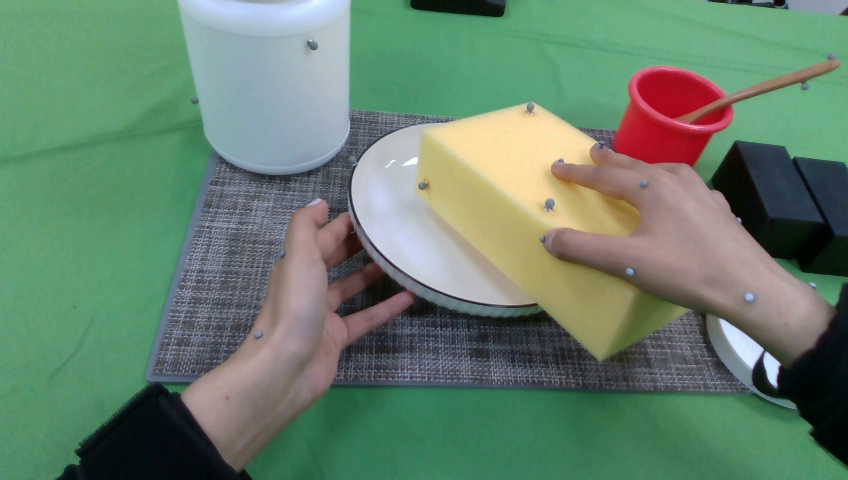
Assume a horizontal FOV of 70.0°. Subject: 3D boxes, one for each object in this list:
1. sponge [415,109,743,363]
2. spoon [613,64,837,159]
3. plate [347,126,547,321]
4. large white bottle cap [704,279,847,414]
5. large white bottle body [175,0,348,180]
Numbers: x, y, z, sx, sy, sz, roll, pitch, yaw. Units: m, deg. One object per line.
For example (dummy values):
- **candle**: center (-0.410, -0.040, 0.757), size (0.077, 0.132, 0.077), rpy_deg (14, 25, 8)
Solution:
- **sponge**: center (0.102, -0.018, 0.446), size (0.118, 0.061, 0.204), rpy_deg (-21, 47, -31)
- **spoon**: center (0.271, -0.118, 0.561), size (0.193, 0.022, 0.041), rpy_deg (-23, 38, 31)
- **plate**: center (0.040, -0.015, 0.494), size (0.210, 0.038, 0.207), rpy_deg (9, 46, -9)
- **large white bottle cap**: center (0.279, 0.080, 0.475), size (0.115, 0.018, 0.113), rpy_deg (6, 49, -7)
- **large white bottle body**: center (-0.129, -0.157, 0.503), size (0.131, 0.186, 0.129), rpy_deg (4, 49, -4)
